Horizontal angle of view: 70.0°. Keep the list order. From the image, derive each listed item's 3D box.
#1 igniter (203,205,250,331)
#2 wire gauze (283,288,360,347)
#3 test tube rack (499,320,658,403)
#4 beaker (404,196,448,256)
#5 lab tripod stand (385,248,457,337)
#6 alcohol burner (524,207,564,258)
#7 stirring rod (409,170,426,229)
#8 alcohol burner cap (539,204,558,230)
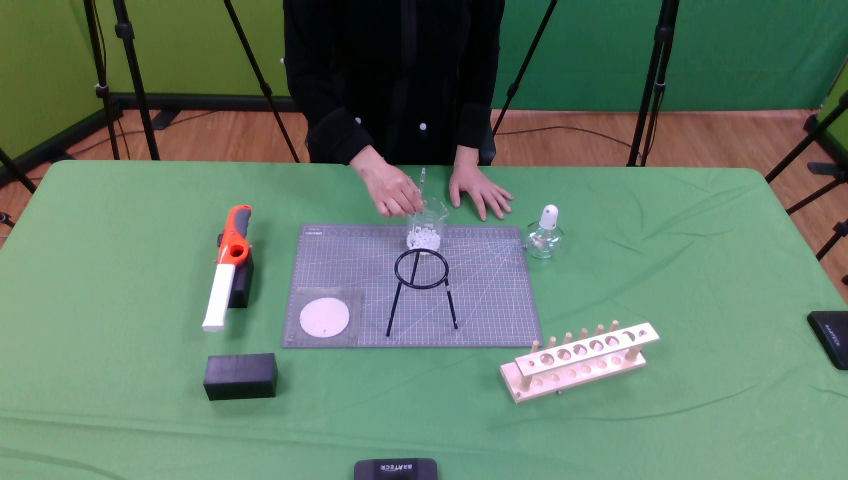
[{"bbox_3d":[-0.345,0.039,1.065,0.057,0.025,0.274,2,49,-6],"label":"igniter"},{"bbox_3d":[-0.178,0.132,1.063,0.125,0.011,0.120,2,46,1],"label":"wire gauze"},{"bbox_3d":[0.252,0.187,0.994,0.243,0.085,0.066,-12,48,-15],"label":"test tube rack"},{"bbox_3d":[0.001,-0.024,1.164,0.084,0.101,0.073,6,46,0],"label":"beaker"},{"bbox_3d":[-0.010,0.087,1.032,0.148,0.132,0.147,1,45,-1],"label":"lab tripod stand"},{"bbox_3d":[0.236,-0.021,1.174,0.078,0.120,0.077,1,48,-1],"label":"alcohol burner"},{"bbox_3d":[-0.013,-0.071,1.115,0.014,0.177,0.006,-11,59,-15],"label":"stirring rod"},{"bbox_3d":[0.238,-0.045,1.148,0.034,0.048,0.033,2,42,-1],"label":"alcohol burner cap"}]
